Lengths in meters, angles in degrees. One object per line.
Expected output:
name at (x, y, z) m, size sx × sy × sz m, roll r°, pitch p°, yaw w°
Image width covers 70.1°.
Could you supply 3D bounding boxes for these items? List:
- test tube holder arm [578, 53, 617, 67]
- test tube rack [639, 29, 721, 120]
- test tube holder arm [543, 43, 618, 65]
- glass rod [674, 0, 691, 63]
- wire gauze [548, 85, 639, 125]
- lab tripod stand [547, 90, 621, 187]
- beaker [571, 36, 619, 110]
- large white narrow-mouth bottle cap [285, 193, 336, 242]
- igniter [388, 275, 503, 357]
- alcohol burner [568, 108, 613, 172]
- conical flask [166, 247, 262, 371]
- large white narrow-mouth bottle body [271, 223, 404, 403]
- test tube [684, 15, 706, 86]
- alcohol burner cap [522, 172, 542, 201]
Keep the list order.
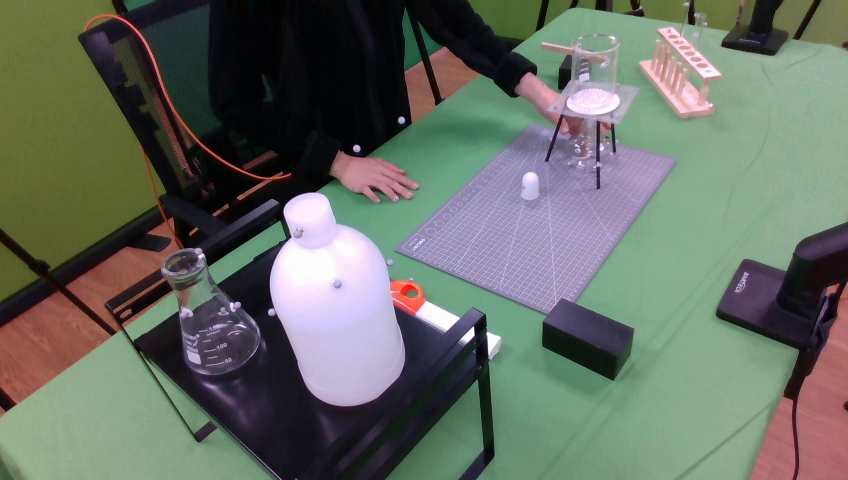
test tube holder arm at (0.376, -0.393, 1.314) m, size 0.087 × 0.015 × 0.010 m, roll 26°, pitch 51°, yaw 32°
test tube rack at (0.527, -0.351, 1.262) m, size 0.067 × 0.085 × 0.241 m, roll -8°, pitch 40°, yaw 1°
test tube holder arm at (0.344, -0.413, 1.340) m, size 0.177 × 0.015 × 0.013 m, roll 25°, pitch 51°, yaw 31°
glass rod at (0.537, -0.437, 1.257) m, size 0.008 × 0.200 × 0.008 m, roll 0°, pitch 39°, yaw 1°
wire gauze at (0.286, -0.233, 1.020) m, size 0.124 × 0.011 × 0.122 m, roll 15°, pitch 43°, yaw 30°
lab tripod stand at (0.289, -0.184, 1.062) m, size 0.148 × 0.132 × 0.147 m, roll -6°, pitch 41°, yaw 5°
beaker at (0.281, -0.273, 0.992) m, size 0.084 × 0.101 × 0.073 m, roll -24°, pitch 42°, yaw -16°
large white narrow-mouth bottle cap at (-0.087, -0.018, 0.467) m, size 0.038 × 0.024 × 0.037 m, roll -5°, pitch 40°, yaw 4°
igniter at (-0.008, 0.093, 0.870) m, size 0.274 × 0.025 × 0.057 m, roll 24°, pitch 60°, yaw 33°
alcohol burner at (0.296, -0.182, 1.074) m, size 0.078 × 0.119 × 0.077 m, roll -5°, pitch 43°, yaw 5°
conical flask at (-0.208, 0.064, 0.584) m, size 0.075 × 0.122 × 0.075 m, roll -5°, pitch 40°, yaw 4°
large white narrow-mouth bottle body at (-0.077, 0.048, 0.525) m, size 0.102 × 0.195 × 0.101 m, roll -5°, pitch 40°, yaw 5°
test tube at (0.541, -0.378, 1.215) m, size 0.017 × 0.151 × 0.017 m, roll -2°, pitch 44°, yaw 3°
alcohol burner cap at (0.186, -0.096, 1.047) m, size 0.034 × 0.048 × 0.033 m, roll -6°, pitch 37°, yaw 5°
